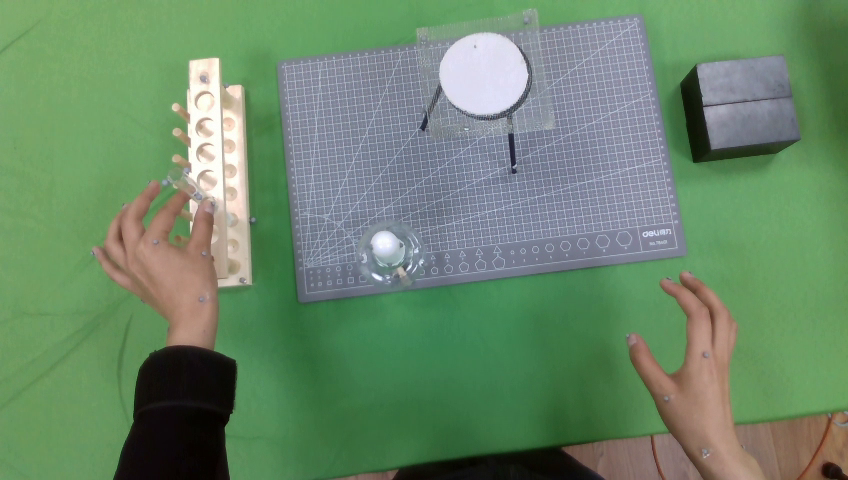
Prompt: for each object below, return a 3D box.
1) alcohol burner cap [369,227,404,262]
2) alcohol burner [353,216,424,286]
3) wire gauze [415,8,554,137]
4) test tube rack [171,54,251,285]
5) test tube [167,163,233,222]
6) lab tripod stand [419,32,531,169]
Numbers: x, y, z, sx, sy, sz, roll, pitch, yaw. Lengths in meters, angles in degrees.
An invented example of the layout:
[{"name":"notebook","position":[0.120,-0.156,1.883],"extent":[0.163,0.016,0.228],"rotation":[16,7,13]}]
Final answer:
[{"name":"alcohol burner cap","position":[-0.040,0.003,0.613],"extent":[0.034,0.048,0.033],"rotation":[-1,79,7]},{"name":"alcohol burner","position":[-0.039,0.009,0.649],"extent":[0.078,0.119,0.077],"rotation":[0,81,0]},{"name":"wire gauze","position":[0.058,-0.163,0.594],"extent":[0.125,0.011,0.121],"rotation":[-6,82,1]},{"name":"test tube rack","position":[-0.246,-0.075,0.684],"extent":[0.067,0.085,0.241],"rotation":[-5,82,1]},{"name":"test tube","position":[-0.228,-0.045,0.629],"extent":[0.017,0.151,0.017],"rotation":[0,75,1]},{"name":"lab tripod stand","position":[0.064,-0.157,0.660],"extent":[0.148,0.132,0.148],"rotation":[0,80,3]}]
